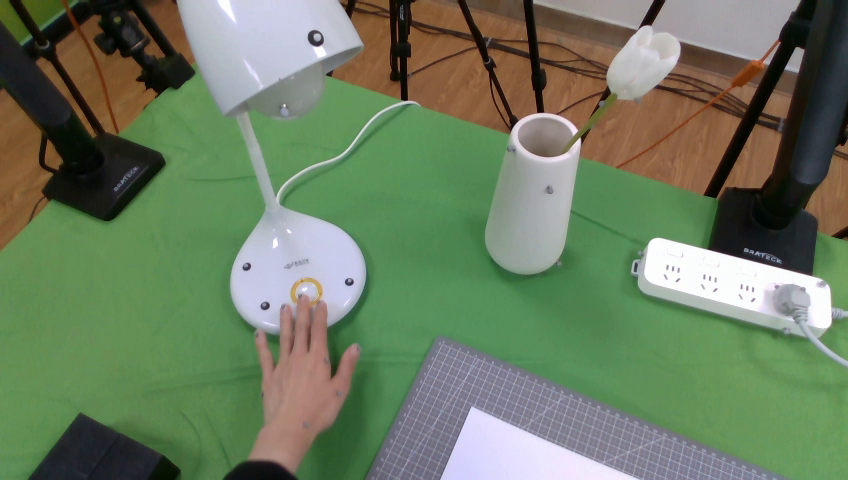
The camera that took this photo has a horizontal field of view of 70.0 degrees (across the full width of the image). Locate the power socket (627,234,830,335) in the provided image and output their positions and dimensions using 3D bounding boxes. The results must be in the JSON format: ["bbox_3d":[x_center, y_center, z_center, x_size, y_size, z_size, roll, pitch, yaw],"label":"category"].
[{"bbox_3d":[0.357,0.051,0.714,0.226,0.033,0.072,16,58,10],"label":"power socket"}]

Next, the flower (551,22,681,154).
[{"bbox_3d":[0.131,-0.084,0.606,0.044,0.363,0.038,-14,73,-20],"label":"flower"}]

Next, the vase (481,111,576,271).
[{"bbox_3d":[0.117,-0.050,0.683,0.098,0.202,0.097,-1,54,1],"label":"vase"}]

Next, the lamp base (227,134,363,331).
[{"bbox_3d":[-0.161,-0.016,0.669,0.161,0.182,0.177,-26,56,-17],"label":"lamp base"}]

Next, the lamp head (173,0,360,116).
[{"bbox_3d":[-0.120,-0.161,0.417,0.112,0.112,0.123,-34,100,-21],"label":"lamp head"}]

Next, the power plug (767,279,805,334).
[{"bbox_3d":[0.395,0.075,0.671,0.035,0.053,0.072,25,65,16],"label":"power plug"}]
